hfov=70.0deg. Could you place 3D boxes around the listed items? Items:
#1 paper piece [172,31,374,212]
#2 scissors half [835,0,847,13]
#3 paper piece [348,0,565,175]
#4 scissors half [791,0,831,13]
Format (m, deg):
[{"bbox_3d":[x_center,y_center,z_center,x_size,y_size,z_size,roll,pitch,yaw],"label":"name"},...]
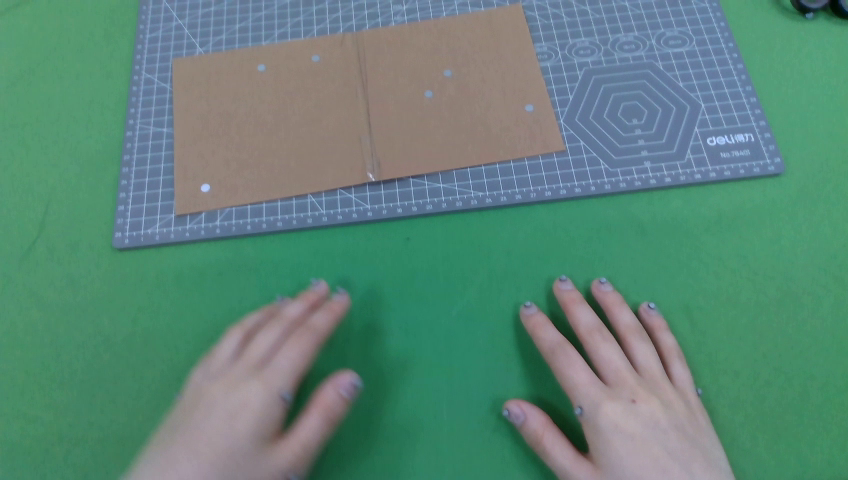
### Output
[{"bbox_3d":[-0.111,-0.090,0.432,0.138,0.009,0.135,-10,63,-1],"label":"paper piece"},{"bbox_3d":[0.327,-0.256,0.452,0.040,0.013,0.175,-2,87,11],"label":"scissors half"},{"bbox_3d":[0.020,-0.114,0.437,0.136,0.004,0.134,-9,65,-2],"label":"paper piece"},{"bbox_3d":[0.307,-0.258,0.456,0.040,0.013,0.175,16,90,6],"label":"scissors half"}]
